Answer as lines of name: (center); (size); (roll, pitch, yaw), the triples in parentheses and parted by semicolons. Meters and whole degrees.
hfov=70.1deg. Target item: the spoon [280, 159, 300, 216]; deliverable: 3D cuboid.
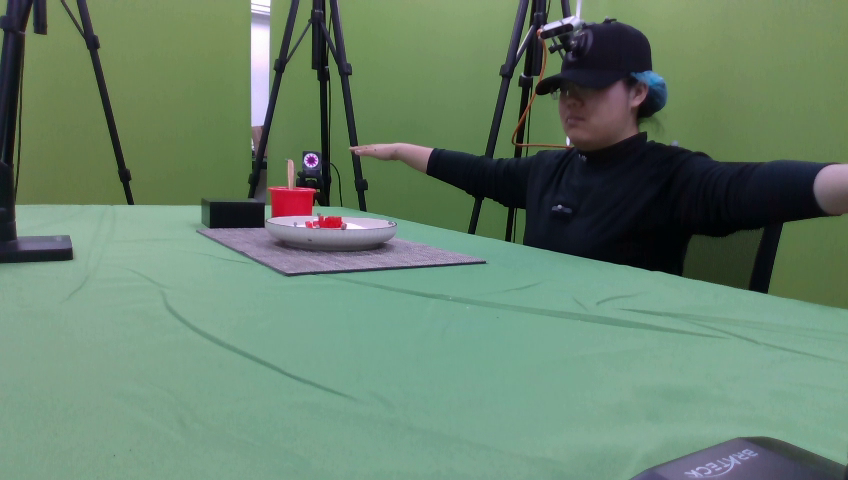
spoon: (-0.282, -0.108, 1.276); (0.042, 0.021, 0.193); (-1, 52, -10)

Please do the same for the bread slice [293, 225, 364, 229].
bread slice: (-0.154, -0.012, 0.973); (0.132, 0.019, 0.104); (-1, 7, -31)

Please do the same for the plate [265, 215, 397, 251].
plate: (-0.147, -0.012, 0.963); (0.209, 0.038, 0.209); (3, 7, 0)
